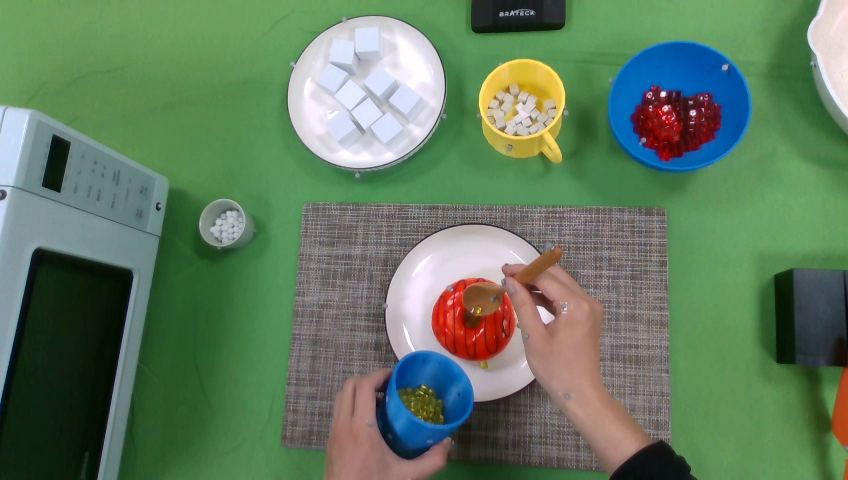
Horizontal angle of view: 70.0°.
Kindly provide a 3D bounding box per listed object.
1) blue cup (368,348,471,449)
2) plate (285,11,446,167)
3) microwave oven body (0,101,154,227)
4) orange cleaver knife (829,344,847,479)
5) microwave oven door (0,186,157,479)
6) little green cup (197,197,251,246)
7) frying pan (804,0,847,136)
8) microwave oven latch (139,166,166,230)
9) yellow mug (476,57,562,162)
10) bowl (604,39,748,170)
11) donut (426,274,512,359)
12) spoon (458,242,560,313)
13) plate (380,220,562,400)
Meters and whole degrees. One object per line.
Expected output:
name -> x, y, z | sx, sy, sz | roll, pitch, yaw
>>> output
blue cup -> -0.013, 0.169, 0.614 | 0.093, 0.100, 0.092 | 15, 53, -20
plate -> -0.073, -0.190, 0.781 | 0.207, 0.039, 0.207 | -2, 80, 8
microwave oven body -> -0.535, 0.090, 0.682 | 0.325, 0.261, 0.440 | 5, 81, 9
orange cleaver knife -> 0.432, 0.188, 0.615 | 0.012, 0.077, 0.212 | 1, 109, 9
microwave oven door -> -0.398, 0.142, 0.647 | 0.039, 0.245, 0.354 | 4, 80, 10
little green cup -> -0.253, -0.021, 0.777 | 0.061, 0.039, 0.061 | -1, 81, 8
frying pan -> 0.554, -0.110, 0.637 | 0.306, 0.103, 0.485 | 7, 73, 11
microwave oven latch -> -0.357, -0.055, 0.780 | 0.030, 0.029, 0.079 | 8, 82, 9
yellow mug -> 0.123, -0.148, 0.729 | 0.100, 0.064, 0.130 | -35, 77, 2
bowl -> 0.280, -0.144, 0.699 | 0.151, 0.077, 0.151 | -1, 80, 9
donut -> 0.052, 0.087, 0.697 | 0.099, 0.048, 0.099 | -1, 83, 10
spoon -> 0.079, 0.039, 0.581 | 0.041, 0.194, 0.021 | 40, 66, -3
plate -> 0.053, 0.081, 0.709 | 0.209, 0.038, 0.208 | -1, 80, 9
